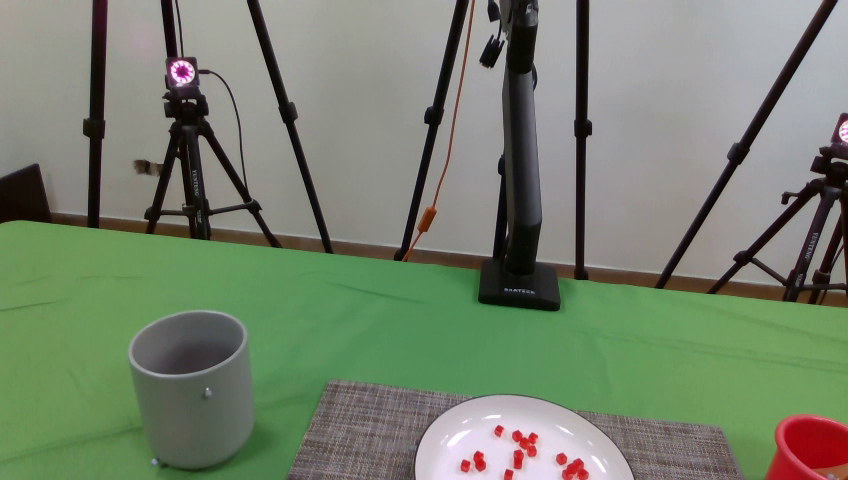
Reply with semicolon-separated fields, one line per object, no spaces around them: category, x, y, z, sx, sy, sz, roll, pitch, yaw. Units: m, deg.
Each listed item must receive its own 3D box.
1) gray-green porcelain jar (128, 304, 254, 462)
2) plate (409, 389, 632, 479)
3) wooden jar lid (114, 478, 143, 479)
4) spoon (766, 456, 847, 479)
gray-green porcelain jar;-0.225;0.144;0.599;0.106;0.127;0.105;3;28;-1
plate;0.089;0.225;0.572;0.208;0.039;0.206;3;28;-1
wooden jar lid;-0.266;0.250;0.509;0.108;0.021;0.107;4;28;-2
spoon;0.414;0.198;0.558;0.194;0.022;0.041;-35;17;24
